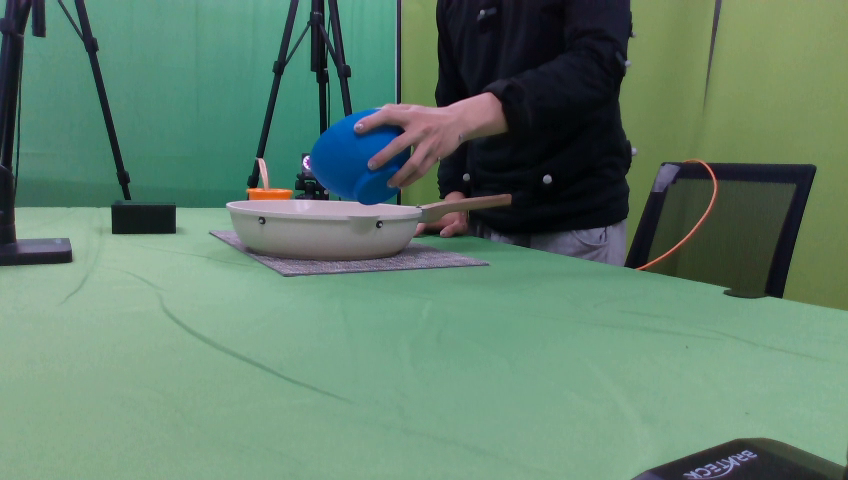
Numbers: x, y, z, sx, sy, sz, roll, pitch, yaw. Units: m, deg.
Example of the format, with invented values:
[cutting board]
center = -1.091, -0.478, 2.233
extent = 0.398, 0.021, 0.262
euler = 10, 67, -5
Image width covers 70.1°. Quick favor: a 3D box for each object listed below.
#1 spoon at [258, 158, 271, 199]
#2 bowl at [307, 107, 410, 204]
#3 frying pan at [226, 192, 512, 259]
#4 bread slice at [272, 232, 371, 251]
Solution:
[spoon]
center = -0.332, -0.107, 1.269
extent = 0.042, 0.021, 0.193
euler = 0, 53, -23
[bowl]
center = -0.077, -0.102, 0.838
extent = 0.152, 0.076, 0.151
euler = -25, -25, -12
[frying pan]
center = -0.058, -0.041, 0.975
extent = 0.490, 0.102, 0.305
euler = -11, 13, -26
[bread slice]
center = -0.148, 0.001, 0.929
extent = 0.133, 0.018, 0.107
euler = 5, 8, 38
